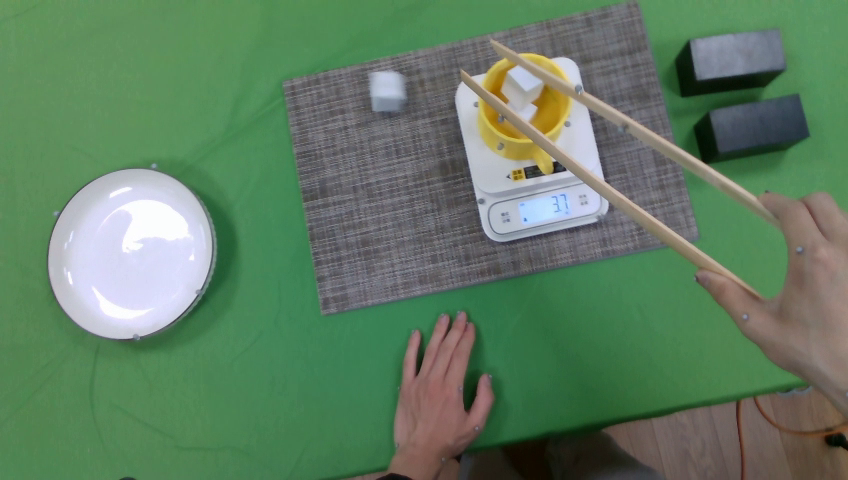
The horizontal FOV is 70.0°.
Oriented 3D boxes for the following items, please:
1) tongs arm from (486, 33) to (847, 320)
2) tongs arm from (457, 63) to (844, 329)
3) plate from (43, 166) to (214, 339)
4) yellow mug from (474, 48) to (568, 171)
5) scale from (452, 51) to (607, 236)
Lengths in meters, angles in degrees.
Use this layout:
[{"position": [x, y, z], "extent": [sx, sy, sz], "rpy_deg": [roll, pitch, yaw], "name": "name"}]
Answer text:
[{"position": [0.174, -0.074, 0.502], "extent": [0.051, 0.027, 0.381], "rpy_deg": [-48, 59, -1], "name": "tongs arm"}, {"position": [0.154, -0.054, 0.504], "extent": [0.028, 0.028, 0.383], "rpy_deg": [-44, 59, -2], "name": "tongs arm"}, {"position": [-0.353, 0.016, 0.737], "extent": [0.207, 0.039, 0.207], "rpy_deg": [-1, 83, 4], "name": "plate"}, {"position": [0.111, -0.138, 0.668], "extent": [0.100, 0.064, 0.130], "rpy_deg": [-22, 83, 1], "name": "yellow mug"}, {"position": [0.122, -0.114, 0.712], "extent": [0.148, 0.031, 0.200], "rpy_deg": [-13, 83, 4], "name": "scale"}]
